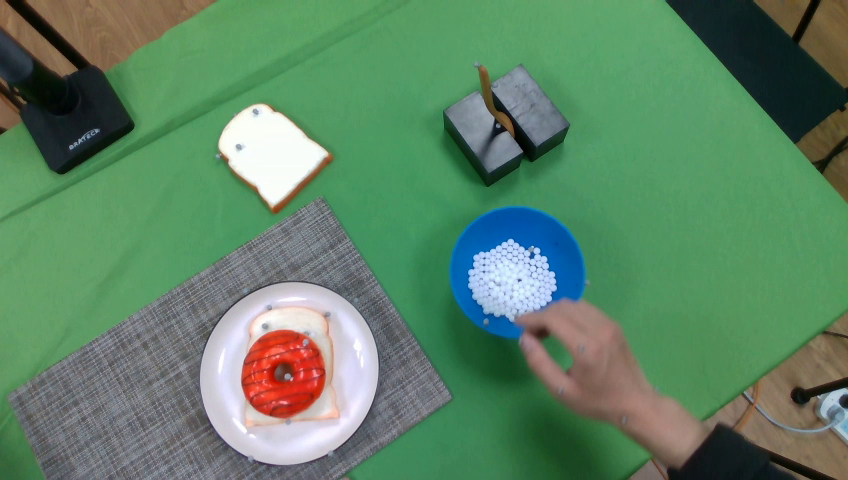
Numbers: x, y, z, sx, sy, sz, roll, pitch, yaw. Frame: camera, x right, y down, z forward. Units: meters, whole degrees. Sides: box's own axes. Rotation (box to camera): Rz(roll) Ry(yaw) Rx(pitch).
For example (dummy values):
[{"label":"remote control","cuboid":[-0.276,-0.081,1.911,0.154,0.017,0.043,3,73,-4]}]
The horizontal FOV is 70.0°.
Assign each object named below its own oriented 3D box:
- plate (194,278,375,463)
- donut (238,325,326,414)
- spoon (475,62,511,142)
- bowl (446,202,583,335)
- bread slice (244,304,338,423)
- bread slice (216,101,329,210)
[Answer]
[{"label":"plate","cuboid":[-0.159,0.149,0.705,0.207,0.039,0.206,0,77,2]},{"label":"donut","cuboid":[-0.159,0.144,0.677,0.099,0.048,0.098,-1,78,3]},{"label":"spoon","cuboid":[0.077,-0.153,0.685,0.021,0.195,0.041,-34,75,10]},{"label":"bowl","cuboid":[0.101,0.039,0.701,0.151,0.077,0.150,-1,77,3]},{"label":"bread slice","cuboid":[-0.160,0.142,0.707,0.107,0.018,0.133,-9,77,0]},{"label":"bread slice","cuboid":[-0.205,-0.116,0.781,0.131,0.019,0.105,41,81,9]}]
